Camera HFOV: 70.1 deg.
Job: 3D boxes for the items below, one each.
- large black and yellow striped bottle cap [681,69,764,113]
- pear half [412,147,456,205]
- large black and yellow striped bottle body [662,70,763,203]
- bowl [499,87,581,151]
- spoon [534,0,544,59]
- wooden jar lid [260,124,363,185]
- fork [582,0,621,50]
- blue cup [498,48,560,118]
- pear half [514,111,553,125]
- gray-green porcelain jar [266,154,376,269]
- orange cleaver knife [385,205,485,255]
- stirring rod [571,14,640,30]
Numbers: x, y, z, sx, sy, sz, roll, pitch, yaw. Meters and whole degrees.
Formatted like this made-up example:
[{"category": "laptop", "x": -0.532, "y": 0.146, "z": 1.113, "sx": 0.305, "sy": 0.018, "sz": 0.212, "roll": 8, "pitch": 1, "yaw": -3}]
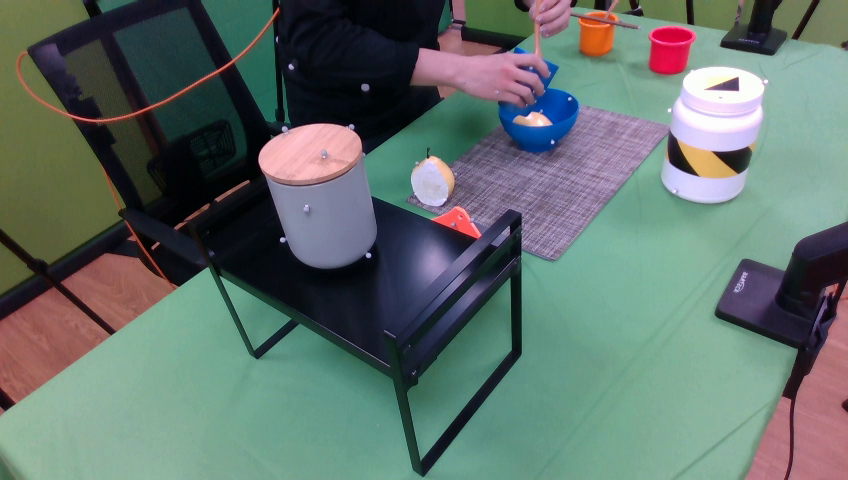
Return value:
[{"category": "large black and yellow striped bottle cap", "x": 0.453, "y": -0.229, "z": 0.921, "sx": 0.115, "sy": 0.019, "sz": 0.114, "roll": -4, "pitch": 39, "yaw": 4}, {"category": "pear half", "x": 0.019, "y": -0.120, "z": 1.042, "sx": 0.076, "sy": 0.110, "sz": 0.056, "roll": 11, "pitch": 44, "yaw": 16}, {"category": "large black and yellow striped bottle body", "x": 0.464, "y": -0.166, "z": 0.976, "sx": 0.131, "sy": 0.185, "sz": 0.130, "roll": -5, "pitch": 41, "yaw": 5}, {"category": "bowl", "x": 0.220, "y": -0.223, "z": 1.155, "sx": 0.151, "sy": 0.077, "sz": 0.150, "roll": -4, "pitch": 40, "yaw": 4}, {"category": "spoon", "x": 0.196, "y": -0.347, "z": 1.036, "sx": 0.042, "sy": 0.194, "sz": 0.021, "roll": -9, "pitch": 20, "yaw": -20}, {"category": "wooden jar lid", "x": -0.119, "y": -0.088, "z": 0.645, "sx": 0.108, "sy": 0.021, "sz": 0.108, "roll": -4, "pitch": 40, "yaw": 4}, {"category": "fork", "x": 0.446, "y": -0.539, "z": 1.438, "sx": 0.207, "sy": 0.019, "sz": 0.028, "roll": -57, "pitch": 36, "yaw": 12}, {"category": "blue cup", "x": 0.178, "y": -0.274, "z": 1.066, "sx": 0.093, "sy": 0.100, "sz": 0.092, "roll": 22, "pitch": 18, "yaw": -7}, {"category": "pear half", "x": 0.214, "y": -0.226, "z": 1.148, "sx": 0.088, "sy": 0.031, "sz": 0.070, "roll": 12, "pitch": 49, "yaw": 14}, {"category": "gray-green porcelain jar", "x": -0.112, "y": -0.039, "z": 0.685, "sx": 0.106, "sy": 0.127, "sz": 0.105, "roll": -4, "pitch": 40, "yaw": 4}, {"category": "orange cleaver knife", "x": 0.012, "y": -0.010, "z": 0.942, "sx": 0.012, "sy": 0.077, "sz": 0.210, "roll": -36, "pitch": 19, "yaw": -35}, {"category": "stirring rod", "x": 0.419, "y": -0.508, "z": 1.404, "sx": 0.174, "sy": 0.006, "sz": 0.014, "roll": 28, "pitch": 55, "yaw": 35}]
